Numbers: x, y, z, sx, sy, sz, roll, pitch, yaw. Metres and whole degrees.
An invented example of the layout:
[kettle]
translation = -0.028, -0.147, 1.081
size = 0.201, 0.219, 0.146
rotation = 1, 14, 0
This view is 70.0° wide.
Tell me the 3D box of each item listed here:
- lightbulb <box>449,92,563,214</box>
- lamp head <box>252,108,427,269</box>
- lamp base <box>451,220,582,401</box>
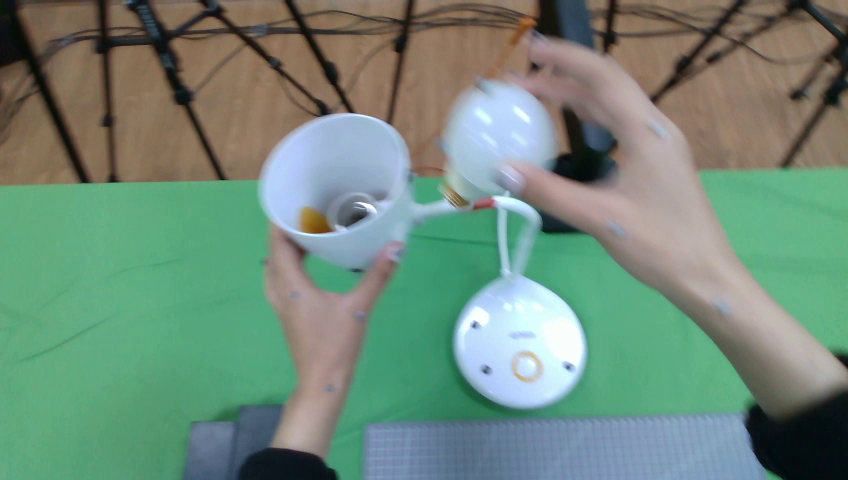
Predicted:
[lightbulb]
translation = 0.042, -0.046, 0.370
size = 0.060, 0.108, 0.059
rotation = 7, 66, -16
[lamp head]
translation = -0.059, -0.030, 0.495
size = 0.112, 0.124, 0.111
rotation = -8, 62, 15
[lamp base]
translation = 0.108, 0.071, 0.683
size = 0.161, 0.182, 0.177
rotation = -14, 60, -6
